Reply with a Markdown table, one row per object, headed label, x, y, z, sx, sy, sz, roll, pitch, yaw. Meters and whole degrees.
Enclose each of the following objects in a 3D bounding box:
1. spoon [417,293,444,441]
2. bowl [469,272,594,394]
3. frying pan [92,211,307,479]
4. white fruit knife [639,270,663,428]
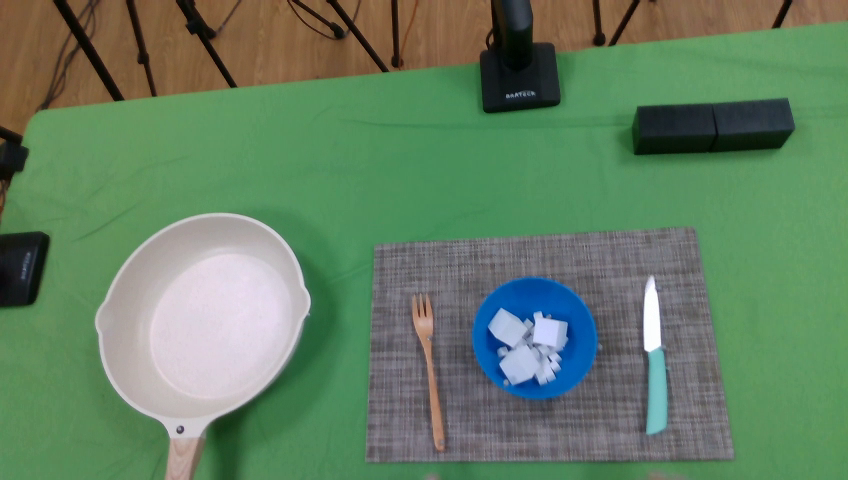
| label | x | y | z | sx | sy | sz | roll | pitch | yaw |
| --- | --- | --- | --- | --- | --- | --- | --- | --- | --- |
| spoon | 0.008 | 0.164 | 0.800 | 0.041 | 0.022 | 0.192 | -9 | 64 | 21 |
| bowl | 0.135 | 0.124 | 0.766 | 0.151 | 0.077 | 0.150 | -3 | 68 | 7 |
| frying pan | -0.303 | 0.192 | 0.796 | 0.306 | 0.104 | 0.483 | -4 | 59 | 8 |
| white fruit knife | 0.289 | 0.134 | 0.772 | 0.027 | 0.016 | 0.206 | 6 | 68 | 2 |
